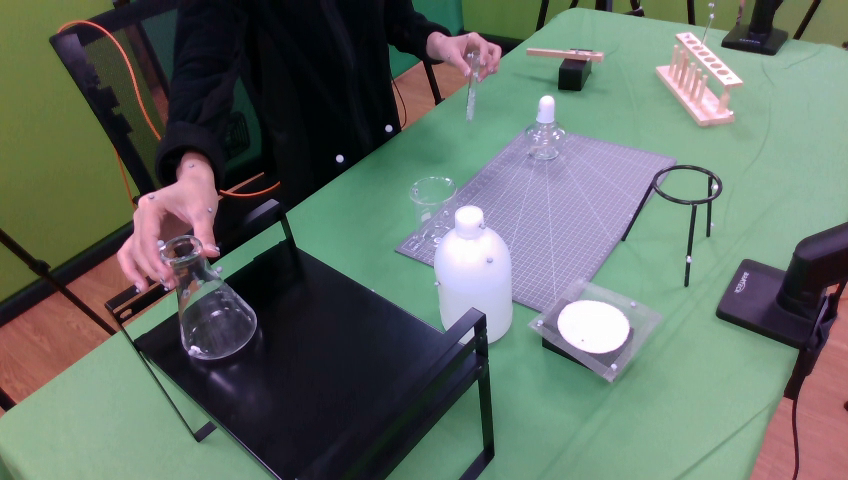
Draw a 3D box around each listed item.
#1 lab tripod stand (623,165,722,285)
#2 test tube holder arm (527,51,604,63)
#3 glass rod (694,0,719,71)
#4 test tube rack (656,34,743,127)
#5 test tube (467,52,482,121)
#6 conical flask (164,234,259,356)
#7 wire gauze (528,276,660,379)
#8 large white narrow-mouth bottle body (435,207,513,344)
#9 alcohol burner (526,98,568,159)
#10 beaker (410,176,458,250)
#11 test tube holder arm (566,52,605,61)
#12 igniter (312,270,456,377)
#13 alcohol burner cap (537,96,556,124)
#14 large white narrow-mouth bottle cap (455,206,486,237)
[{"bbox_3d":[0.365,-0.030,0.875,0.148,0.132,0.147,-6,41,6],"label":"lab tripod stand"},{"bbox_3d":[0.311,-0.408,1.344,0.177,0.015,0.013,14,38,30],"label":"test tube holder arm"},{"bbox_3d":[0.561,-0.401,1.214,0.008,0.200,0.008,-1,48,2],"label":"glass rod"},{"bbox_3d":[0.553,-0.330,1.233,0.067,0.085,0.241,-7,40,2],"label":"test tube rack"},{"bbox_3d":[0.089,-0.271,1.078,0.017,0.151,0.017,1,55,0],"label":"test tube"},{"bbox_3d":[-0.216,0.051,0.600,0.075,0.122,0.075,-5,40,4],"label":"conical flask"},{"bbox_3d":[0.214,0.103,0.763,0.124,0.011,0.122,30,52,35],"label":"wire gauze"},{"bbox_3d":[0.065,0.041,0.791,0.102,0.195,0.101,-4,41,4],"label":"large white narrow-mouth bottle body"},{"bbox_3d":[0.228,-0.210,1.118,0.078,0.119,0.077,-5,43,5],"label":"alcohol burner"},{"bbox_3d":[0.022,-0.041,0.964,0.073,0.101,0.084,28,51,35],"label":"beaker"},{"bbox_3d":[0.352,-0.401,1.325,0.087,0.015,0.010,15,38,31],"label":"test tube holder arm"},{"bbox_3d":[-0.068,0.111,0.859,0.274,0.025,0.057,27,62,34],"label":"igniter"},{"bbox_3d":[0.223,-0.238,1.095,0.034,0.048,0.033,-2,37,2],"label":"alcohol burner cap"},{"bbox_3d":[0.057,-0.023,0.734,0.038,0.024,0.037,-4,40,4],"label":"large white narrow-mouth bottle cap"}]
